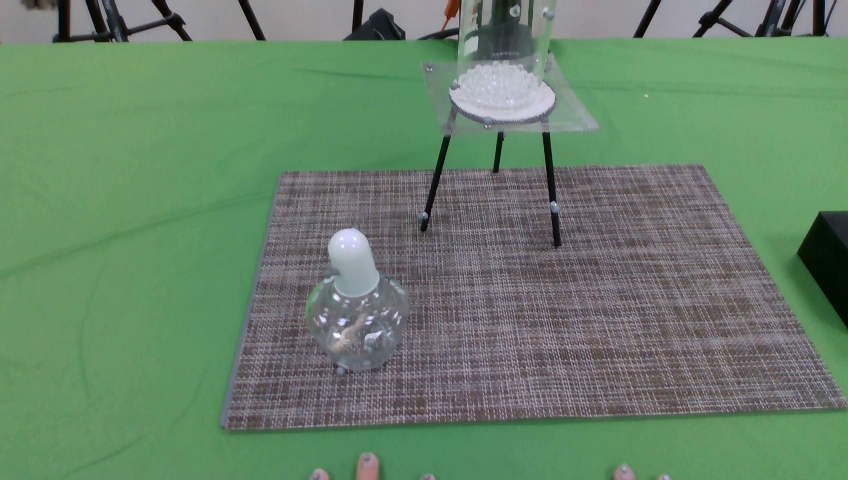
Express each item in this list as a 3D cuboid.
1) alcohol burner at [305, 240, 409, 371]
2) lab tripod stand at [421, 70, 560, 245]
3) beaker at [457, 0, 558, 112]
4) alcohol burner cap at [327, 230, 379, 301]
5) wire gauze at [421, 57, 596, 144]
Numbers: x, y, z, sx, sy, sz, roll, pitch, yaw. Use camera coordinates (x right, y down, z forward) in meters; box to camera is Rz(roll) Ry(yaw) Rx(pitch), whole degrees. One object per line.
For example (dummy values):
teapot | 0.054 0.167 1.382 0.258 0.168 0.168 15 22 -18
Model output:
alcohol burner | -0.049 0.041 0.439 0.078 0.120 0.077 1 44 -1
lab tripod stand | 0.069 -0.073 0.548 0.148 0.132 0.147 2 42 -1
beaker | 0.064 -0.160 0.473 0.073 0.101 0.084 24 47 21
alcohol burner cap | -0.051 0.014 0.414 0.034 0.048 0.033 -4 41 4
wire gauze | 0.066 -0.118 0.500 0.125 0.011 0.120 -2 45 -9
